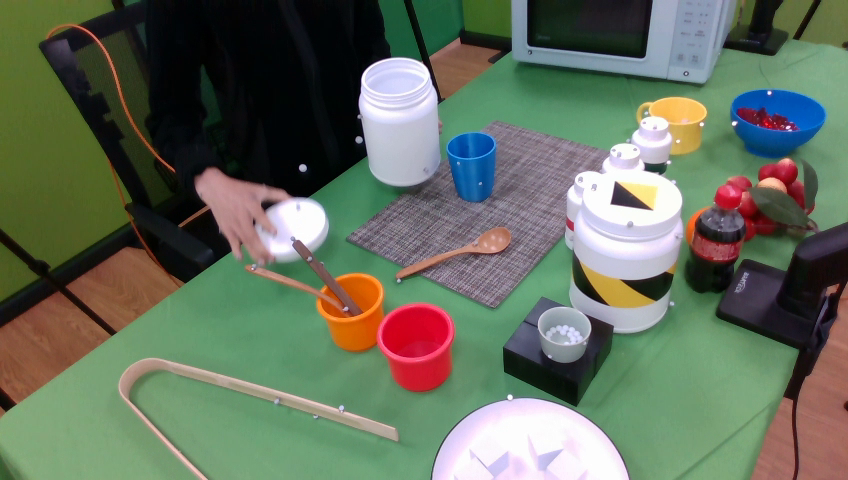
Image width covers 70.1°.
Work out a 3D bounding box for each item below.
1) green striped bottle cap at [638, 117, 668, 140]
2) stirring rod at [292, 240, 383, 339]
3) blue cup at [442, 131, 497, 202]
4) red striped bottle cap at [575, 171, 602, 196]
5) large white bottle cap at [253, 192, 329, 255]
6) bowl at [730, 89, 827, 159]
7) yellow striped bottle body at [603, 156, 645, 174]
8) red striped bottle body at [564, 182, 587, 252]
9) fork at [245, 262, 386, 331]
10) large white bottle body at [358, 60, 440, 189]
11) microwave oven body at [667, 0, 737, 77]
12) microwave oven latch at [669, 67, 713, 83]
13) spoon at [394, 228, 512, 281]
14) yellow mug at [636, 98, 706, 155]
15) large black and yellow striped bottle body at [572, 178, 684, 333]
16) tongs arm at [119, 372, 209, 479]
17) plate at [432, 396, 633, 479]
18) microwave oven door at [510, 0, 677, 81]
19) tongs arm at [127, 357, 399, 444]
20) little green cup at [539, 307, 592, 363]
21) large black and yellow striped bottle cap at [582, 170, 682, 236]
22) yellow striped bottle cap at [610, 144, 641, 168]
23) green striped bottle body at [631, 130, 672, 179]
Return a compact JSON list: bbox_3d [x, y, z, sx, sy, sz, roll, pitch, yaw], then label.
[{"bbox_3d":[0.369,-0.180,0.974,0.044,0.020,0.044,-4,41,4],"label":"green striped bottle cap"},{"bbox_3d":[-0.118,0.068,0.825,0.176,0.006,0.014,48,59,-3],"label":"stirring rod"},{"bbox_3d":[0.085,-0.121,1.039,0.092,0.100,0.092,-5,41,5],"label":"blue cup"},{"bbox_3d":[0.242,-0.081,0.876,0.044,0.018,0.044,-5,44,5],"label":"red striped bottle cap"},{"bbox_3d":[-0.201,-0.026,0.913,0.114,0.018,0.114,-6,49,8],"label":"large white bottle cap"},{"bbox_3d":[0.615,-0.197,1.069,0.151,0.077,0.150,-5,40,5],"label":"bowl"},{"bbox_3d":[0.313,-0.089,0.956,0.063,0.121,0.062,-4,39,4],"label":"yellow striped bottle body"},{"bbox_3d":[0.246,-0.041,0.910,0.063,0.120,0.062,-2,38,2],"label":"red striped bottle body"},{"bbox_3d":[-0.141,0.076,0.807,0.209,0.018,0.028,30,51,-24],"label":"fork"},{"bbox_3d":[-0.041,-0.193,1.018,0.130,0.185,0.130,-2,47,2],"label":"large white bottle body"},{"bbox_3d":[0.462,-0.552,1.368,0.439,0.261,0.326,15,45,26],"label":"microwave oven body"},{"bbox_3d":[0.556,-0.349,1.261,0.078,0.029,0.030,16,46,27],"label":"microwave oven latch"},{"bbox_3d":[0.045,0.024,0.935,0.194,0.022,0.041,-18,66,-11],"label":"spoon"},{"bbox_3d":[0.453,-0.217,1.128,0.100,0.064,0.129,-34,46,-27],"label":"yellow mug"},{"bbox_3d":[0.262,0.017,0.788,0.131,0.185,0.130,-5,40,4],"label":"large black and yellow striped bottle body"},{"bbox_3d":[-0.258,0.257,0.700,0.384,0.028,0.028,24,55,34],"label":"tongs arm"},{"bbox_3d":[0.112,0.261,0.634,0.209,0.038,0.208,-5,40,4],"label":"plate"},{"bbox_3d":[0.354,-0.478,1.290,0.353,0.245,0.039,15,45,25],"label":"microwave oven door"},{"bbox_3d":[-0.213,0.205,0.755,0.382,0.026,0.051,12,46,23],"label":"tongs arm"},{"bbox_3d":[0.168,0.115,0.721,0.061,0.039,0.061,-4,42,4],"label":"little green cup"},{"bbox_3d":[0.252,-0.048,0.735,0.115,0.019,0.114,-3,40,3],"label":"large black and yellow striped bottle cap"},{"bbox_3d":[0.307,-0.128,0.923,0.044,0.019,0.044,-6,39,5],"label":"yellow striped bottle cap"},{"bbox_3d":[0.375,-0.140,1.007,0.063,0.120,0.063,-5,40,5],"label":"green striped bottle body"}]
